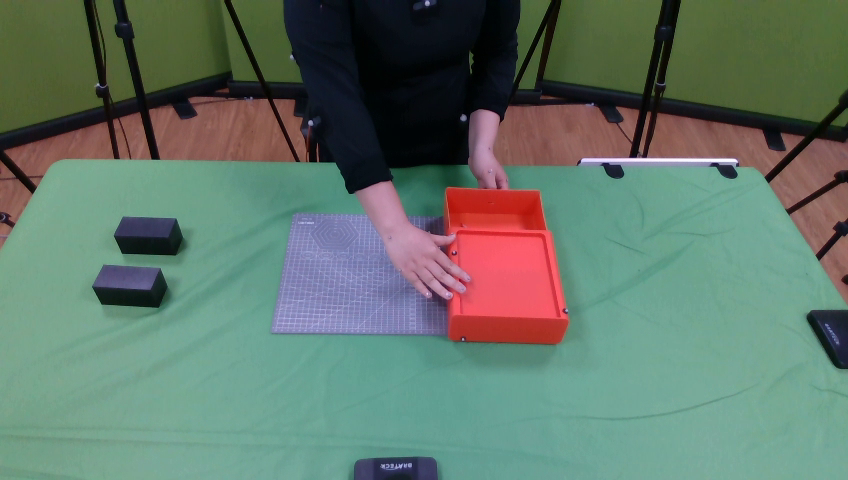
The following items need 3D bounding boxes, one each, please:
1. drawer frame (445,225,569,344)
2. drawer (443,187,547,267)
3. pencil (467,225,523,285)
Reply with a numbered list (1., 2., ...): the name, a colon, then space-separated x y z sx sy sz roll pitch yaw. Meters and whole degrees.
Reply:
1. drawer frame: 0.141 0.076 1.089 0.202 0.083 0.212 2 46 -3
2. drawer: 0.138 -0.006 1.169 0.195 0.073 0.210 2 47 -4
3. pencil: 0.134 0.024 1.176 0.012 0.012 0.192 -19 44 -22
